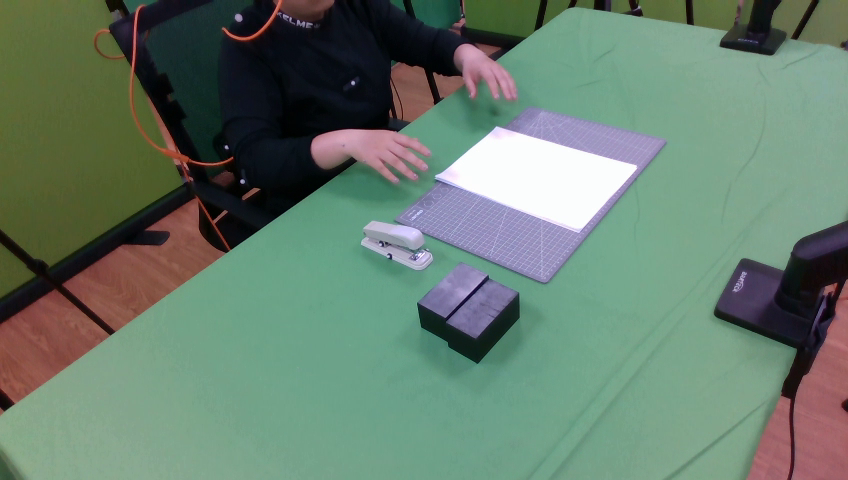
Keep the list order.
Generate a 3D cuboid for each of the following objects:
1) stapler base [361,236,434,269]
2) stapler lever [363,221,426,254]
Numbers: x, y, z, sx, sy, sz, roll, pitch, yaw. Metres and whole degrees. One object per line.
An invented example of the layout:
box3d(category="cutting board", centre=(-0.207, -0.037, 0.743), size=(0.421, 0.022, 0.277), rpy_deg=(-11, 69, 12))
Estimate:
box3d(category="stapler base", centre=(-0.044, 0.009, 0.974), size=(0.129, 0.024, 0.041), rpy_deg=(21, 46, 32))
box3d(category="stapler lever", centre=(-0.048, -0.011, 0.958), size=(0.117, 0.040, 0.027), rpy_deg=(21, 46, 32))
